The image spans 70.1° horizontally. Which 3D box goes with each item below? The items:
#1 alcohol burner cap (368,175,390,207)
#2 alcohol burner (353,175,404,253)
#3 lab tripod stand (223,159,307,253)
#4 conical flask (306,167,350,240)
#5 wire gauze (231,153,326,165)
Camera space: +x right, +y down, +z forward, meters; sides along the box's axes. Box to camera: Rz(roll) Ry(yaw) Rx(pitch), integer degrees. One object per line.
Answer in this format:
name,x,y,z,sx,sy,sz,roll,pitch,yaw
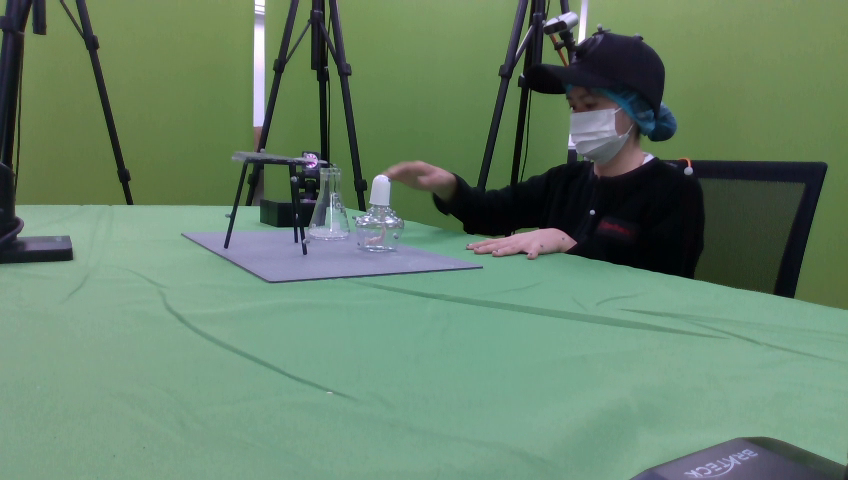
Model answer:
alcohol burner cap,-0.067,-0.075,0.923,0.034,0.048,0.034,8,11,-1
alcohol burner,-0.070,-0.040,0.926,0.078,0.119,0.078,1,9,0
lab tripod stand,-0.220,-0.053,0.896,0.148,0.131,0.148,1,6,0
conical flask,-0.164,-0.063,1.042,0.075,0.122,0.075,3,7,0
wire gauze,-0.215,-0.118,0.882,0.125,0.011,0.121,1,7,-19
